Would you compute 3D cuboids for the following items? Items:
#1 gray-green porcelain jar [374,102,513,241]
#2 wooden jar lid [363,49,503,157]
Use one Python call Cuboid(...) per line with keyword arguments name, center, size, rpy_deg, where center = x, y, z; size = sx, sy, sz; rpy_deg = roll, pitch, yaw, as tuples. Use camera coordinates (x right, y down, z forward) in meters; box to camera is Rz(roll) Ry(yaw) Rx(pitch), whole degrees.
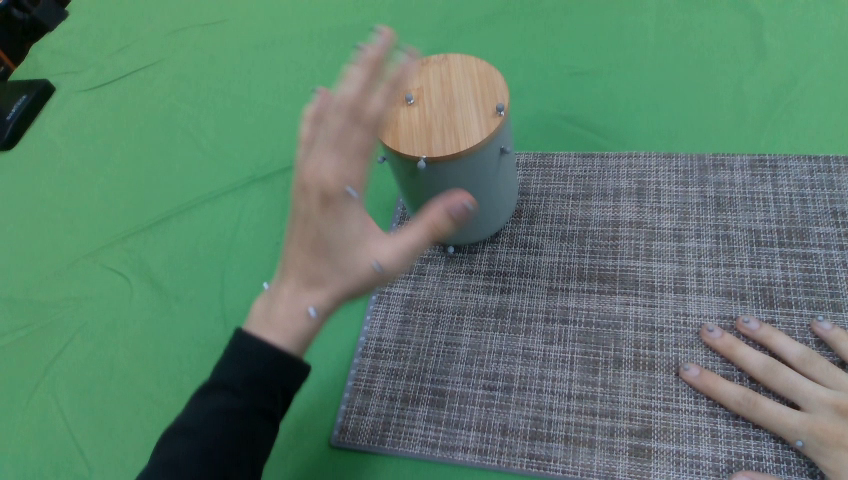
Cuboid(name="gray-green porcelain jar", center=(0.021, -0.069, 0.518), size=(0.106, 0.128, 0.105), rpy_deg=(-6, 56, 9))
Cuboid(name="wooden jar lid", center=(0.008, -0.104, 0.468), size=(0.108, 0.021, 0.107), rpy_deg=(-4, 59, 8))
